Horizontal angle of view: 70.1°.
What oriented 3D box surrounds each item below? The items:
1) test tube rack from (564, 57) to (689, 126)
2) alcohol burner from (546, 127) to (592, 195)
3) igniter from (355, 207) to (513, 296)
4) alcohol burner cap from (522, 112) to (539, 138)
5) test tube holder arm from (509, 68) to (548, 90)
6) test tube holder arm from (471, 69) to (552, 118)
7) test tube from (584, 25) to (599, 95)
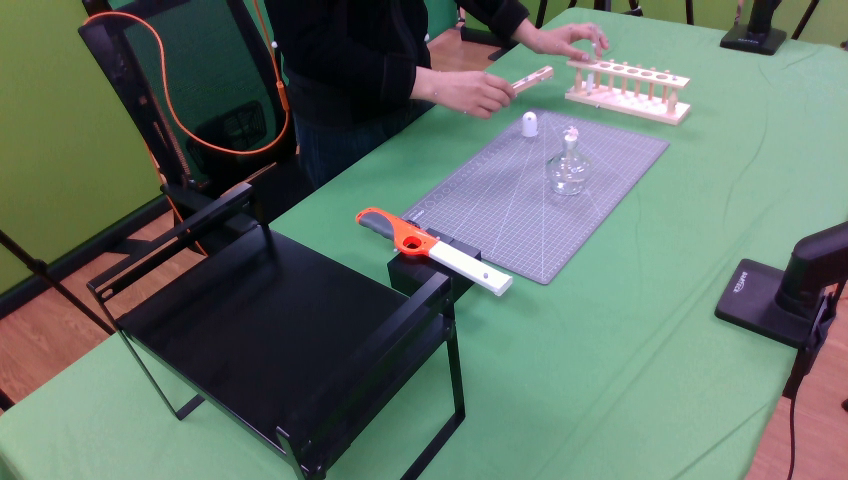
[{"bbox_3d":[0.411,-0.311,1.230,0.240,0.085,0.067,23,50,31],"label":"test tube rack"},{"bbox_3d":[0.247,-0.137,1.023,0.078,0.119,0.077,-4,38,4],"label":"alcohol burner"},{"bbox_3d":[0.006,0.010,0.885,0.274,0.025,0.057,27,53,30],"label":"igniter"},{"bbox_3d":[0.210,-0.230,1.195,0.034,0.048,0.033,-6,41,6],"label":"alcohol burner cap"},{"bbox_3d":[0.196,-0.293,1.117,0.088,0.015,0.010,-31,32,-14],"label":"test tube holder arm"},{"bbox_3d":[0.161,-0.268,1.101,0.179,0.015,0.013,-31,33,-15],"label":"test tube holder arm"},{"bbox_3d":[0.339,-0.361,1.224,0.017,0.151,0.017,-4,45,4],"label":"test tube"}]
